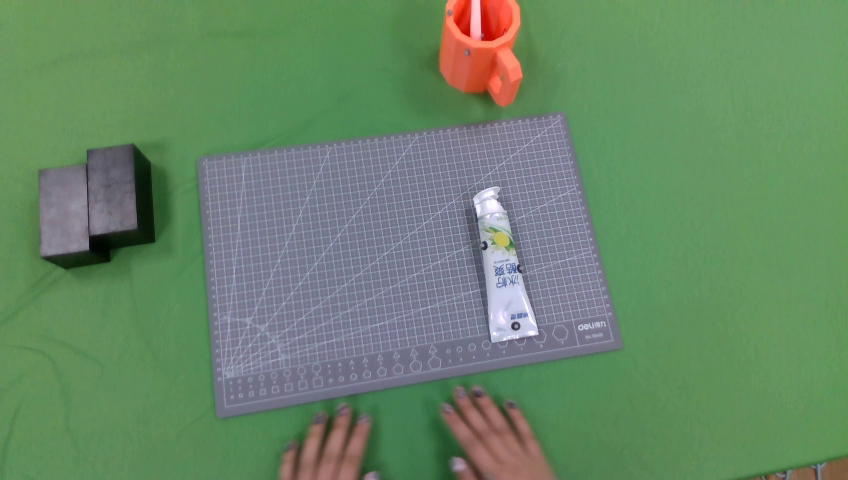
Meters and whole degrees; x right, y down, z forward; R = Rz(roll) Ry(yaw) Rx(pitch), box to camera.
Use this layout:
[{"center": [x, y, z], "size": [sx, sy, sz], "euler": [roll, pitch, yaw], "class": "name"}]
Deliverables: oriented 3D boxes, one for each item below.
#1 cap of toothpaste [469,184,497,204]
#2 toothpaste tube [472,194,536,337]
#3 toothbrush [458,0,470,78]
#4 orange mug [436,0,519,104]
[{"center": [0.070, -0.053, 0.706], "size": [0.037, 0.037, 0.011], "euler": [-21, 73, -9], "class": "cap of toothpaste"}, {"center": [0.084, 0.026, 0.692], "size": [0.055, 0.034, 0.164], "euler": [-11, 79, 1], "class": "toothpaste tube"}, {"center": [0.049, -0.273, 0.695], "size": [0.014, 0.183, 0.016], "euler": [-17, 40, -25], "class": "toothbrush"}, {"center": [0.069, -0.229, 0.727], "size": [0.083, 0.101, 0.125], "euler": [-30, 74, -11], "class": "orange mug"}]
